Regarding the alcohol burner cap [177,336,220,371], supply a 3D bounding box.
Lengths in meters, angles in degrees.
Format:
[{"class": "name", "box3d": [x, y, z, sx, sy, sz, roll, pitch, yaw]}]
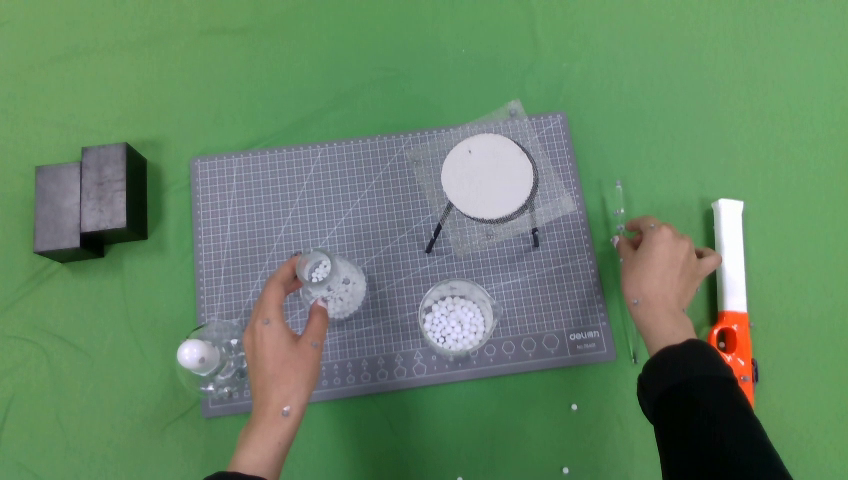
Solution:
[{"class": "alcohol burner cap", "box3d": [-0.215, 0.105, 0.572, 0.034, 0.048, 0.033, 1, 73, -4]}]

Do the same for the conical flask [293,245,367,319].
[{"class": "conical flask", "box3d": [-0.102, 0.038, 0.621, 0.075, 0.122, 0.075, 0, 76, 1]}]

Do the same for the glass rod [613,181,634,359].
[{"class": "glass rod", "box3d": [0.221, 0.032, 0.672, 0.008, 0.008, 0.199, -3, 82, -1]}]

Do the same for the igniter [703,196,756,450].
[{"class": "igniter", "box3d": [0.331, 0.085, 0.660, 0.057, 0.025, 0.275, 7, 76, -9]}]

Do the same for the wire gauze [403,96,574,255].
[{"class": "wire gauze", "box3d": [0.060, -0.061, 0.569, 0.125, 0.011, 0.121, -24, 79, -4]}]

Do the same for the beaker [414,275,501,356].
[{"class": "beaker", "box3d": [0.033, 0.081, 0.622, 0.084, 0.100, 0.073, -9, 76, -2]}]

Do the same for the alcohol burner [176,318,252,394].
[{"class": "alcohol burner", "box3d": [-0.215, 0.115, 0.607, 0.078, 0.119, 0.077, 0, 77, -1]}]

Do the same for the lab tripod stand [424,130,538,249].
[{"class": "lab tripod stand", "box3d": [0.061, -0.043, 0.634, 0.148, 0.132, 0.147, 0, 78, 1]}]
